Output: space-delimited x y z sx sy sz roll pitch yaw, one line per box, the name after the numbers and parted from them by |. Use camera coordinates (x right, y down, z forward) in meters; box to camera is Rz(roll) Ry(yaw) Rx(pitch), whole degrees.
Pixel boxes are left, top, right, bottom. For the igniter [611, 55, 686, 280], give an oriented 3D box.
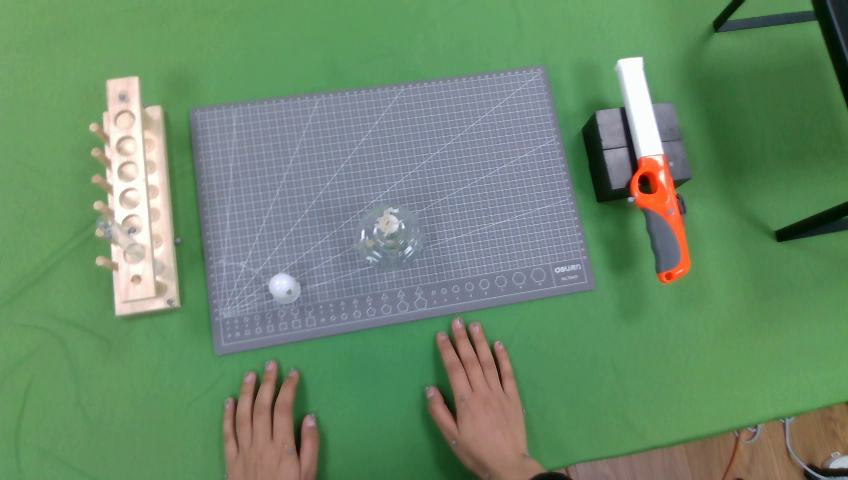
0.263 -0.089 0.711 0.057 0.025 0.275 -7 77 -4 | igniter

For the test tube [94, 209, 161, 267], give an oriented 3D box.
-0.293 0.002 0.607 0.017 0.151 0.017 2 72 -6 | test tube

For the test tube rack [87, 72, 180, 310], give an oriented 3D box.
-0.326 -0.051 0.666 0.067 0.085 0.241 -9 79 -6 | test tube rack

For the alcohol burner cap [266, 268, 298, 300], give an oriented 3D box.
-0.160 0.047 0.679 0.034 0.048 0.033 1 77 -5 | alcohol burner cap

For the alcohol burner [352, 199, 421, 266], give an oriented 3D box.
-0.041 -0.011 0.667 0.078 0.119 0.077 1 79 -4 | alcohol burner
